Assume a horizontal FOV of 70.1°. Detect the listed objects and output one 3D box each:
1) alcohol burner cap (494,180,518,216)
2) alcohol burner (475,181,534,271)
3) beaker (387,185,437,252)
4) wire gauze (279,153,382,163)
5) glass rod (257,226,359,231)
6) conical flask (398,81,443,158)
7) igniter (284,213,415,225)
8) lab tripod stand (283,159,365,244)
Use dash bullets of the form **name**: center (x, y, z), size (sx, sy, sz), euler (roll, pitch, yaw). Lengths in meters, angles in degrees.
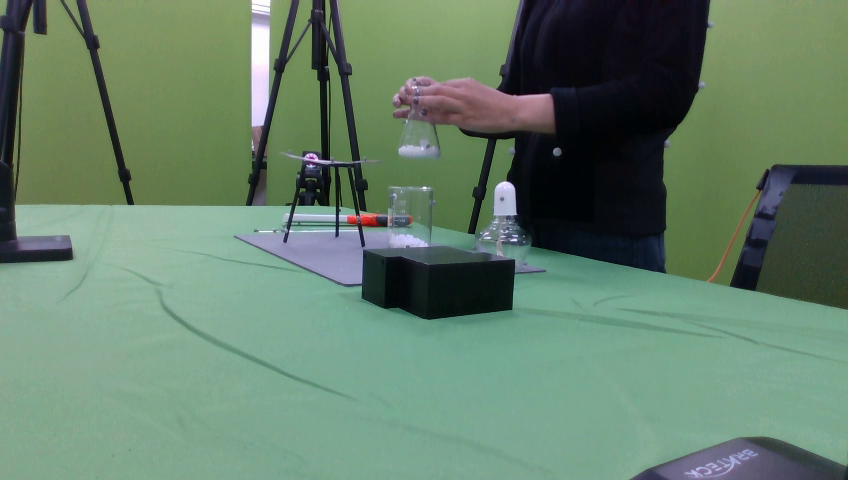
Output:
- **alcohol burner cap**: center (0.108, -0.055, 0.800), size (0.034, 0.048, 0.034), euler (-2, 4, 0)
- **alcohol burner**: center (0.108, -0.020, 0.804), size (0.078, 0.119, 0.078), euler (3, 5, 0)
- **beaker**: center (-0.023, -0.035, 0.941), size (0.074, 0.100, 0.083), euler (-3, 8, -38)
- **wire gauze**: center (-0.149, -0.129, 0.974), size (0.124, 0.011, 0.122), euler (10, 9, 41)
- **glass rod**: center (-0.216, -0.022, 1.151), size (0.201, 0.008, 0.008), euler (-2, 8, -28)
- **conical flask**: center (-0.003, -0.198, 0.998), size (0.075, 0.122, 0.075), euler (3, 8, 0)
- **igniter**: center (-0.154, -0.045, 1.282), size (0.278, 0.025, 0.057), euler (0, -3, -20)
- **lab tripod stand**: center (-0.151, -0.063, 0.983), size (0.148, 0.131, 0.148), euler (4, 7, 0)
